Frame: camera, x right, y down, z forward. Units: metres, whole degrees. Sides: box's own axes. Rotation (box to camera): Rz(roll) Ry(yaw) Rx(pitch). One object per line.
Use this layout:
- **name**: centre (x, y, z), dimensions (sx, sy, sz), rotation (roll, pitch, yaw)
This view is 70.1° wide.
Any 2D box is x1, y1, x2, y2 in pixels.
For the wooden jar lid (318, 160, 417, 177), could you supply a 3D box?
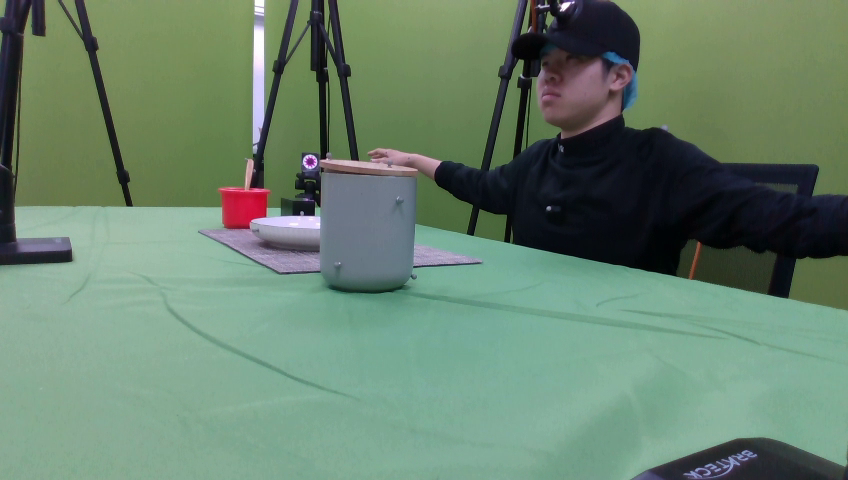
- **wooden jar lid**: centre (-0.063, -0.073, 0.665), dimensions (0.108, 0.020, 0.108), rotation (5, 9, 0)

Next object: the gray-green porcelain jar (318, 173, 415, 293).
- **gray-green porcelain jar**: centre (-0.064, -0.010, 0.672), dimensions (0.106, 0.126, 0.106), rotation (2, 7, 0)

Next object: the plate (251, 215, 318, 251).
- **plate**: centre (-0.170, -0.012, 0.971), dimensions (0.208, 0.039, 0.207), rotation (2, 7, 0)

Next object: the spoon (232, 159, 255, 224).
- **spoon**: centre (-0.356, -0.101, 1.218), dimensions (0.042, 0.021, 0.193), rotation (1, 51, -9)
